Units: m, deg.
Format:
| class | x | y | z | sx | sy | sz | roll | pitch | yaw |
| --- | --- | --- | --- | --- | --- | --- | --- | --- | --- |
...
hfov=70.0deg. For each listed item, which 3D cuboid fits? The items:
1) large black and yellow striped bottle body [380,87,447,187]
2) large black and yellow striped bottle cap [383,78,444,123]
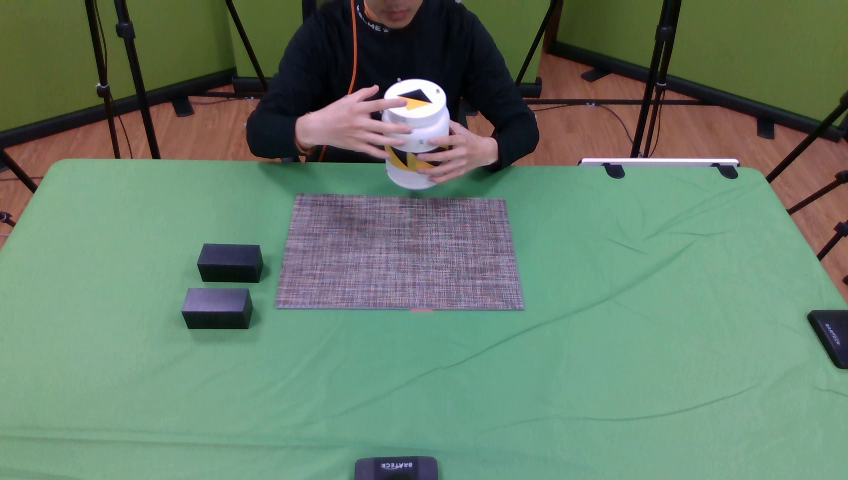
| class | x | y | z | sx | sy | sz | roll | pitch | yaw |
| --- | --- | --- | --- | --- | --- | --- | --- | --- | --- |
| large black and yellow striped bottle body | -0.019 | -0.209 | 1.194 | 0.131 | 0.185 | 0.130 | -1 | 51 | 1 |
| large black and yellow striped bottle cap | -0.020 | -0.261 | 1.128 | 0.115 | 0.019 | 0.114 | -2 | 52 | 2 |
